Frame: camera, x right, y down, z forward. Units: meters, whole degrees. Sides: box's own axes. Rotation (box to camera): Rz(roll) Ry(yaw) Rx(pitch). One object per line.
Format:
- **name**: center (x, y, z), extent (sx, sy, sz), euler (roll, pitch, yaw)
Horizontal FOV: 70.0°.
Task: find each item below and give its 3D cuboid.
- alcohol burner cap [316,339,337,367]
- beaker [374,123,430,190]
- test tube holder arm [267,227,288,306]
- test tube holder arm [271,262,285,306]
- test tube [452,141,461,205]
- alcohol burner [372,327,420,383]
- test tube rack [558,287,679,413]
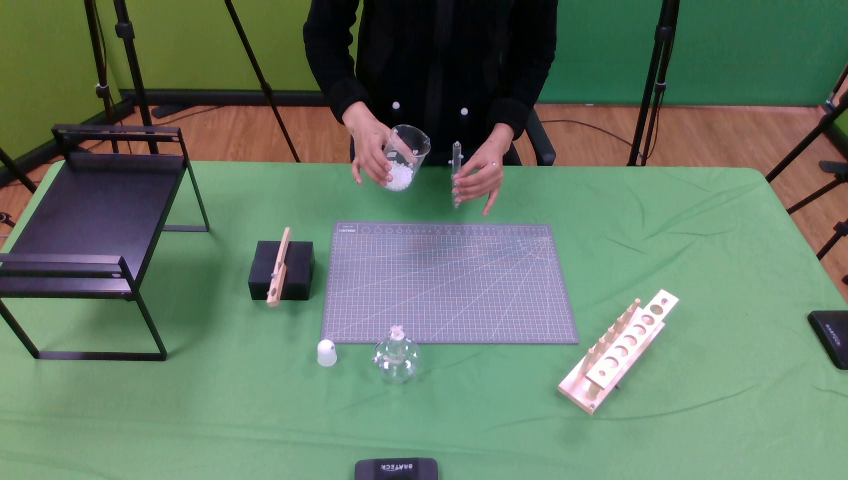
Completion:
- **alcohol burner cap**: center (-0.161, 0.182, 0.995), extent (0.034, 0.048, 0.033), euler (2, 47, -2)
- **beaker**: center (-0.039, -0.142, 1.053), extent (0.084, 0.100, 0.073), euler (-18, 64, -34)
- **test tube holder arm**: center (-0.257, 0.043, 1.071), extent (0.013, 0.015, 0.177), euler (-6, 46, 2)
- **test tube holder arm**: center (-0.250, 0.075, 1.039), extent (0.010, 0.015, 0.087), euler (-5, 46, 3)
- **test tube**: center (0.060, -0.121, 1.124), extent (0.017, 0.151, 0.017), euler (-1, 48, 2)
- **alcohol burner**: center (-0.044, 0.175, 0.961), extent (0.078, 0.120, 0.077), euler (1, 48, -1)
- **test tube rack**: center (0.326, 0.170, 1.009), extent (0.066, 0.085, 0.242), euler (36, 54, 26)
